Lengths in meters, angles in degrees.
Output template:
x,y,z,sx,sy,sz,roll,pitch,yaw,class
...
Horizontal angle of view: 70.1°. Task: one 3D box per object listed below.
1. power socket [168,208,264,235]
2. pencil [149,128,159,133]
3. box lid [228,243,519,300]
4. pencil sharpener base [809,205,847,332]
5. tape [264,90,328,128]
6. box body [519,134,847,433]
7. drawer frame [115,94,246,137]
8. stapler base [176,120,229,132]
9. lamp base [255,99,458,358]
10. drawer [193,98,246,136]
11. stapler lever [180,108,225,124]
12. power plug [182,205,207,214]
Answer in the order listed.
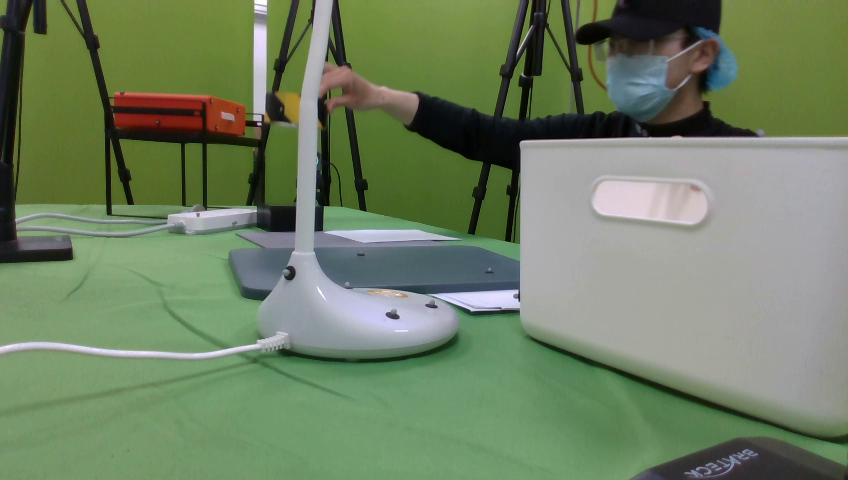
x,y,z,sx,sy,sz,roll,pitch,yaw,class
-0.381,-0.038,1.129,0.072,0.032,0.227,4,8,17,power socket
-0.528,-0.258,1.361,0.012,0.012,0.195,8,20,35,pencil
-0.044,0.033,0.757,0.373,0.015,0.262,-1,9,-22,box lid
0.386,0.026,0.518,0.062,0.107,0.076,-4,11,-43,pencil sharpener base
-0.230,-0.235,1.091,0.117,0.052,0.117,6,6,0,tape
0.279,0.005,0.485,0.366,0.160,0.253,-3,9,-36,box body
-0.543,-0.281,1.374,0.213,0.082,0.201,2,8,4,drawer frame
-0.496,-0.257,1.364,0.041,0.024,0.131,2,9,22,stapler base
-0.056,-0.013,0.462,0.160,0.180,0.180,6,11,27,lamp base
-0.539,-0.279,1.374,0.212,0.073,0.194,2,8,5,drawer
-0.496,-0.281,1.359,0.027,0.040,0.118,2,7,22,stapler lever
-0.455,-0.041,1.196,0.052,0.035,0.072,2,42,23,power plug
